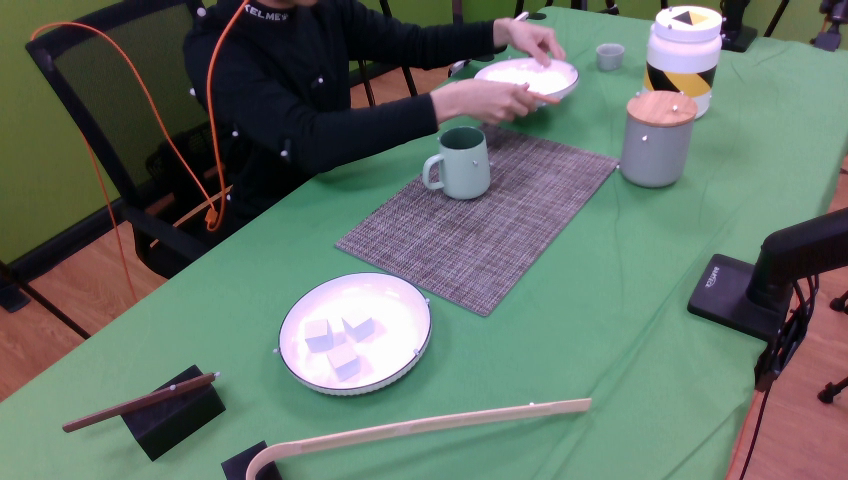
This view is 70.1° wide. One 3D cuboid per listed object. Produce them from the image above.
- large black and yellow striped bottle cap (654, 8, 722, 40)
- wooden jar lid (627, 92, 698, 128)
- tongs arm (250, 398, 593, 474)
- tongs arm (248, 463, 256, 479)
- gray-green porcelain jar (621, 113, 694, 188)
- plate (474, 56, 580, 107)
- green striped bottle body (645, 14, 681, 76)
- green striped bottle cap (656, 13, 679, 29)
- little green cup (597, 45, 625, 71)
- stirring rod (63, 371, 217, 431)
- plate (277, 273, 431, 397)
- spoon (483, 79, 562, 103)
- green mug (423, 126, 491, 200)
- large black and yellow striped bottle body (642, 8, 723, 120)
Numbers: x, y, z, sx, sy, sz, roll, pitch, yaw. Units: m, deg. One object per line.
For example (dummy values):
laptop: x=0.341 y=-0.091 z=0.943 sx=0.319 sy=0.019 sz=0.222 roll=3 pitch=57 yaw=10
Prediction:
large black and yellow striped bottle cap: x=0.483 y=-0.397 z=1.108 sx=0.115 sy=0.019 sz=0.114 roll=-3 pitch=41 yaw=3
wooden jar lid: x=0.384 y=-0.207 z=0.980 sx=0.108 sy=0.021 sz=0.108 roll=-6 pitch=39 yaw=5
tongs arm: x=0.008 y=0.212 z=0.675 sx=0.389 sy=0.028 sz=0.028 roll=-5 pitch=46 yaw=-11
tongs arm: x=0.012 y=0.262 z=0.615 sx=0.385 sy=0.026 sz=0.050 roll=3 pitch=41 yaw=-2
gray-green porcelain jar: x=0.390 y=-0.161 z=1.020 sx=0.106 sy=0.127 sz=0.105 roll=-4 pitch=41 yaw=4
plate: x=0.204 y=-0.313 z=1.206 sx=0.209 sy=0.038 sz=0.208 roll=-4 pitch=36 yaw=3
green striped bottle body: x=0.520 y=-0.424 z=1.312 sx=0.063 sy=0.120 sz=0.063 roll=-4 pitch=41 yaw=4
green striped bottle cap: x=0.515 y=-0.463 z=1.278 sx=0.044 sy=0.020 sz=0.044 roll=-6 pitch=42 yaw=6
little green cup: x=0.423 y=-0.413 z=1.375 sx=0.061 sy=0.039 sz=0.061 roll=-3 pitch=41 yaw=3
stirring rod: x=-0.337 y=0.192 z=0.723 sx=0.177 sy=0.014 sz=0.005 roll=-18 pitch=43 yaw=-12
plate: x=-0.091 y=0.129 z=0.821 sx=0.207 sy=0.039 sz=0.206 roll=-4 pitch=40 yaw=4
spoon: x=0.182 y=-0.279 z=1.138 sx=0.042 sy=0.022 sz=0.192 roll=-41 pitch=38 yaw=-18
green mug: x=0.055 y=-0.126 z=1.039 sx=0.126 sy=0.105 sz=0.091 roll=-25 pitch=44 yaw=-18
large black and yellow striped bottle body: x=0.493 y=-0.334 z=1.161 sx=0.131 sy=0.185 sz=0.130 roll=-4 pitch=41 yaw=4
